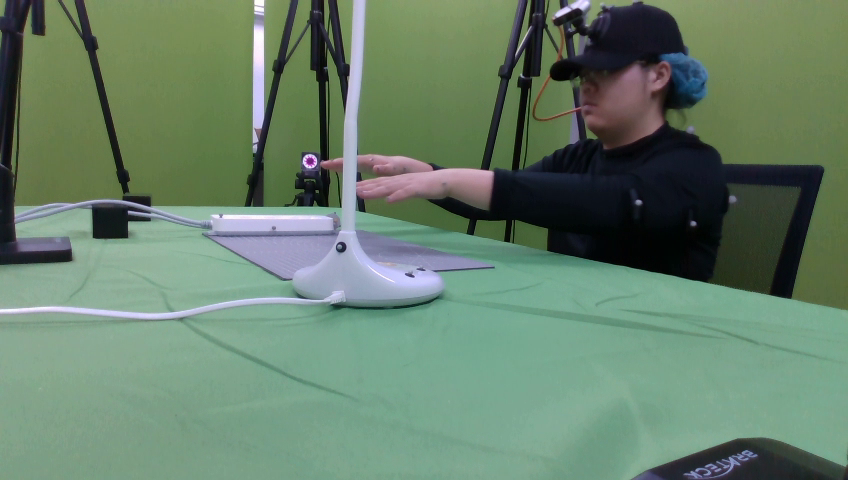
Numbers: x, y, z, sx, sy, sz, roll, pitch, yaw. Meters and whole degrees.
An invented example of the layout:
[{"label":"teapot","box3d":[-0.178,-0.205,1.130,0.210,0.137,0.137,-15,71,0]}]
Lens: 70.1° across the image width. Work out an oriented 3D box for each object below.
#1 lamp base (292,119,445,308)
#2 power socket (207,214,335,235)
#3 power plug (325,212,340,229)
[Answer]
[{"label":"lamp base","box3d":[-0.056,-0.030,0.616,0.160,0.180,0.179,4,10,8]},{"label":"power socket","box3d":[-0.271,-0.029,1.086,0.228,0.032,0.072,-1,8,-28]},{"label":"power plug","box3d":[-0.200,-0.027,1.194,0.072,0.035,0.052,-35,13,-11]}]
